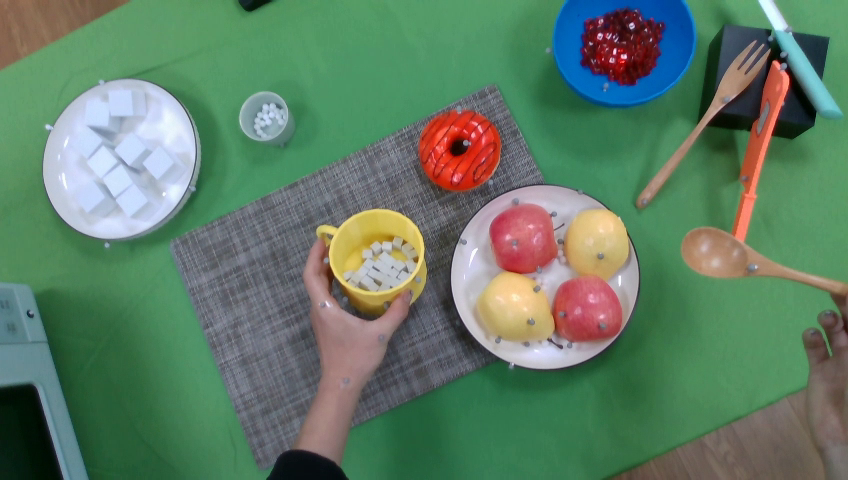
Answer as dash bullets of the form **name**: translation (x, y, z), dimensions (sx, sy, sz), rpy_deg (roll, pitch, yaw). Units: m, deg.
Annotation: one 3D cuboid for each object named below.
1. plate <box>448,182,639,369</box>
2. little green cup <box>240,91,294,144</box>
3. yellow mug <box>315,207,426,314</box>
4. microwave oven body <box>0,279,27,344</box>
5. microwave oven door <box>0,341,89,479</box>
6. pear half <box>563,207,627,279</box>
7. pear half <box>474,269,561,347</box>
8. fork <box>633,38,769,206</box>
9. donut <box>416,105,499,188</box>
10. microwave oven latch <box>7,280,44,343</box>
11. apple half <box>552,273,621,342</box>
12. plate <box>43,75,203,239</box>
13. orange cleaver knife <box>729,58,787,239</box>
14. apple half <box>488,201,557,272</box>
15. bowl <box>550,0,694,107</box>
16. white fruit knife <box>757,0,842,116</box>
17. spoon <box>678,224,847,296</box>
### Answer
- **plate**: translation (0.132, 0.039, 0.682), dimensions (0.209, 0.038, 0.208), rpy_deg (-1, 83, 7)
- **little green cup**: translation (-0.191, -0.148, 0.747), dimensions (0.061, 0.039, 0.061), rpy_deg (-1, 83, 8)
- **yellow mug**: translation (-0.063, 0.016, 0.658), dimensions (0.130, 0.064, 0.099), rpy_deg (25, 68, 14)
- **microwave oven body**: translation (-0.578, 0.295, 0.629), dimensions (0.326, 0.261, 0.440), rpy_deg (-23, 82, 4)
- **microwave oven door**: translation (-0.428, 0.277, 0.607), dimensions (0.039, 0.245, 0.354), rpy_deg (-23, 81, 4)
- **pear half**: translation (0.184, 0.007, 0.664), dimensions (0.070, 0.031, 0.088), rpy_deg (4, 94, 31)
- **pear half**: translation (0.110, 0.082, 0.666), dimensions (0.110, 0.056, 0.076), rpy_deg (37, 94, 3)
- **fork**: translation (0.294, -0.122, 0.658), dimensions (0.028, 0.018, 0.208), rpy_deg (33, 109, 2)
- **donut**: translation (0.039, -0.109, 0.707), dimensions (0.099, 0.048, 0.099), rpy_deg (-1, 85, 10)
- **microwave oven latch**: translation (-0.495, 0.088, 0.740), dimensions (0.030, 0.029, 0.079), rpy_deg (-22, 82, 4)
- **apple half**: translation (0.170, 0.074, 0.656), dimensions (0.081, 0.033, 0.081), rpy_deg (0, 91, 30)
- **plate**: translation (-0.373, -0.102, 0.765), dimensions (0.207, 0.039, 0.207), rpy_deg (-1, 83, 7)
- **orange cleaver knife**: translation (0.351, -0.085, 0.650), dimensions (0.012, 0.077, 0.212), rpy_deg (10, 110, 13)
- **apple half**: translation (0.109, -0.004, 0.672), dimensions (0.074, 0.053, 0.080), rpy_deg (-8, 86, 6)
- **bowl**: translation (0.215, -0.214, 0.684), dimensions (0.151, 0.077, 0.151), rpy_deg (-1, 84, 7)
- **white fruit knife**: translation (0.382, -0.220, 0.645), dimensions (0.027, 0.016, 0.206), rpy_deg (-19, 78, -25)
- **spoon**: translation (0.302, 0.030, 0.481), dimensions (0.192, 0.022, 0.041), rpy_deg (19, 82, 21)
